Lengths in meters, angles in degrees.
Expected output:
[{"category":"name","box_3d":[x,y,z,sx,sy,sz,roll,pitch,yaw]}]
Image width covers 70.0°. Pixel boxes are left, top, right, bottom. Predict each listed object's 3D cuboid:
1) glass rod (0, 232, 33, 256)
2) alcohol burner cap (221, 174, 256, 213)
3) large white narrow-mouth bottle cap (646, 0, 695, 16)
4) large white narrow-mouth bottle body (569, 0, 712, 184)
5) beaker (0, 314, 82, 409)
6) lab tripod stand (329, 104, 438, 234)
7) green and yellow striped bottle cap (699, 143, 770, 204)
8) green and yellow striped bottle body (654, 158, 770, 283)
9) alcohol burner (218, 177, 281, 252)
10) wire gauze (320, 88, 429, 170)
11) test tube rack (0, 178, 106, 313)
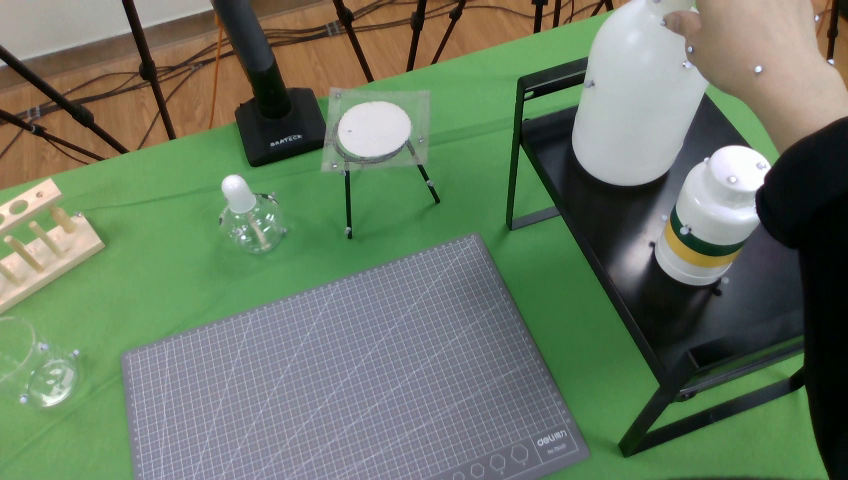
[{"category":"glass rod","box_3d":[-0.525,-0.037,0.700,0.008,0.202,0.008,-6,53,9]},{"category":"alcohol burner cap","box_3d":[-0.222,-0.058,0.714,0.034,0.048,0.033,-1,56,3]},{"category":"large white narrow-mouth bottle cap","box_3d":[0.185,-0.186,0.448,0.038,0.024,0.037,-1,59,2]},{"category":"large white narrow-mouth bottle body","box_3d":[0.189,-0.142,0.523,0.102,0.196,0.101,-1,58,2]},{"category":"beaker","box_3d":[-0.429,0.138,0.654,0.074,0.101,0.083,-6,58,0]},{"category":"lab tripod stand","box_3d":[-0.058,-0.093,0.757,0.148,0.132,0.147,-1,56,2]},{"category":"green and yellow striped bottle cap","box_3d":[0.227,-0.050,0.443,0.045,0.020,0.045,-1,59,2]},{"category":"green and yellow striped bottle body","box_3d":[0.231,-0.021,0.487,0.063,0.121,0.062,-2,57,3]},{"category":"alcohol burner","box_3d":[-0.218,-0.037,0.744,0.078,0.120,0.077,-1,55,2]},{"category":"wire gauze","box_3d":[-0.055,-0.133,0.702,0.121,0.011,0.124,0,58,2]},{"category":"test tube rack","box_3d":[-0.531,0.034,0.734,0.242,0.086,0.066,-38,63,-19]}]
